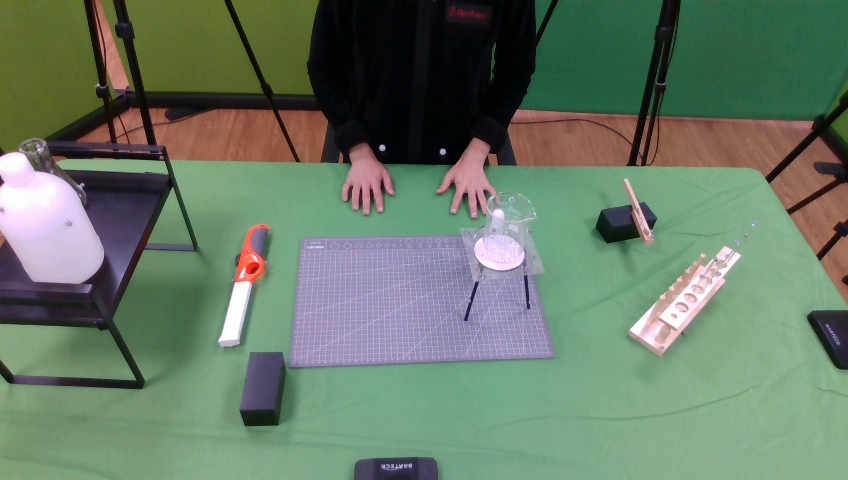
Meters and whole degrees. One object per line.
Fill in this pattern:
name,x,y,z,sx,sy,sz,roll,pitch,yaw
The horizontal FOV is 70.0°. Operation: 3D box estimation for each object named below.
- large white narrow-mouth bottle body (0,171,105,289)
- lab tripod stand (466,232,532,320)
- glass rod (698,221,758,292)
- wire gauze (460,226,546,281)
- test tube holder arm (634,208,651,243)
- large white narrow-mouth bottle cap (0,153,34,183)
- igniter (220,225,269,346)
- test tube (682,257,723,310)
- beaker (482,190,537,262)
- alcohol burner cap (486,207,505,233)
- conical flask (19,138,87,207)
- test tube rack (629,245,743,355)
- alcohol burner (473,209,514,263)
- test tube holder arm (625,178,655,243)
large white narrow-mouth bottle body,-0.513,-0.029,0.818,0.102,0.195,0.101,2,46,-2
lab tripod stand,0.125,0.059,1.065,0.148,0.132,0.147,1,45,0
glass rod,0.527,0.035,1.059,0.008,0.200,0.008,5,49,-6
wire gauze,0.130,0.017,1.016,0.121,0.011,0.124,-4,43,-9
test tube holder arm,0.428,-0.030,1.189,0.010,0.015,0.087,1,47,-2
large white narrow-mouth bottle cap,-0.510,-0.090,0.754,0.038,0.024,0.037,2,46,-2
igniter,-0.323,0.072,1.100,0.057,0.025,0.274,-6,46,5
test tube,0.475,0.080,1.037,0.017,0.151,0.017,1,50,-1
beaker,0.136,-0.019,0.983,0.084,0.101,0.073,17,47,14
alcohol burner cap,0.135,-0.039,1.125,0.034,0.048,0.033,4,41,-4
conical flask,-0.576,-0.097,0.930,0.075,0.122,0.075,2,46,-2
test tube rack,0.474,0.095,1.091,0.242,0.085,0.066,-34,56,-31
alcohol burner,0.134,-0.013,1.150,0.078,0.120,0.077,0,47,0
test tube holder arm,0.433,-0.063,1.220,0.013,0.015,0.177,1,47,-3
